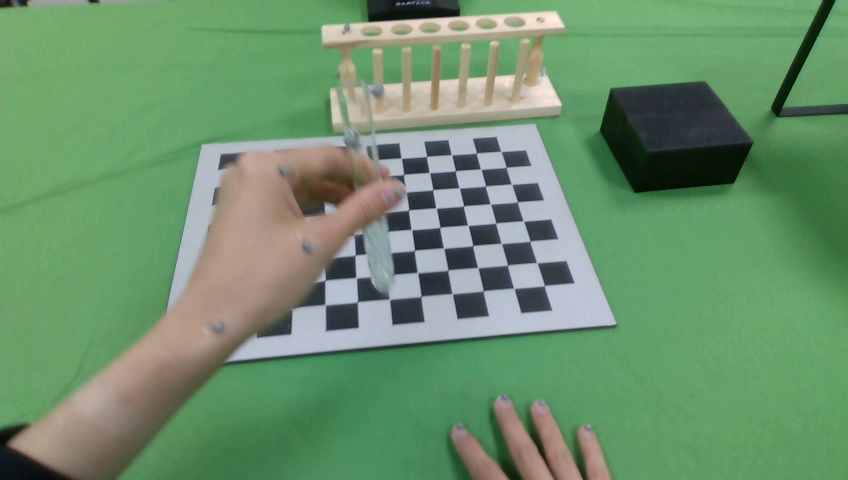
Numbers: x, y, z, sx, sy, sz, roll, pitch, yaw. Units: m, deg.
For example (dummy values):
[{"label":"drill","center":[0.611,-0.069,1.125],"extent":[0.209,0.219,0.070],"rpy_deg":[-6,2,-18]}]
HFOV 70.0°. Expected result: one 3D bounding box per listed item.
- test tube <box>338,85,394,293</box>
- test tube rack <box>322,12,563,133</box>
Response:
[{"label":"test tube","center":[-0.030,-0.019,0.338],"extent":[0.017,0.151,0.017],"rpy_deg":[-1,49,2]},{"label":"test tube rack","center":[0.021,-0.175,0.630],"extent":[0.243,0.086,0.066],"rpy_deg":[-6,47,-6]}]
